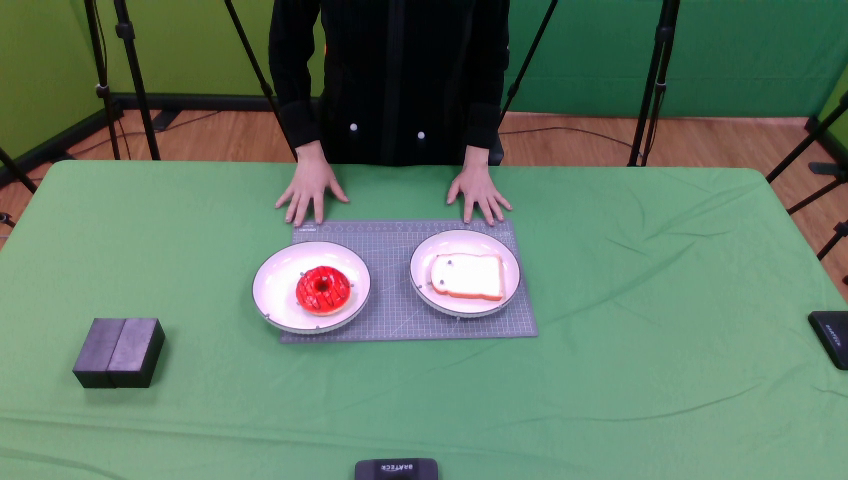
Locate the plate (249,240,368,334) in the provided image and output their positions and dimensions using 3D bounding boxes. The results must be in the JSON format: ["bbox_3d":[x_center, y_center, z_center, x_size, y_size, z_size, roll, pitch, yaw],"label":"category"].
[{"bbox_3d":[-0.204,0.086,1.084,0.208,0.039,0.206,2,46,-2],"label":"plate"}]

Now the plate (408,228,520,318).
[{"bbox_3d":[0.074,0.063,1.128,0.209,0.038,0.208,2,46,-2],"label":"plate"}]

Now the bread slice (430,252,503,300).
[{"bbox_3d":[0.078,0.067,1.125,0.134,0.018,0.106,1,45,-3],"label":"bread slice"}]

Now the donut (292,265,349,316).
[{"bbox_3d":[-0.182,0.089,1.067,0.099,0.048,0.098,3,50,-4],"label":"donut"}]
